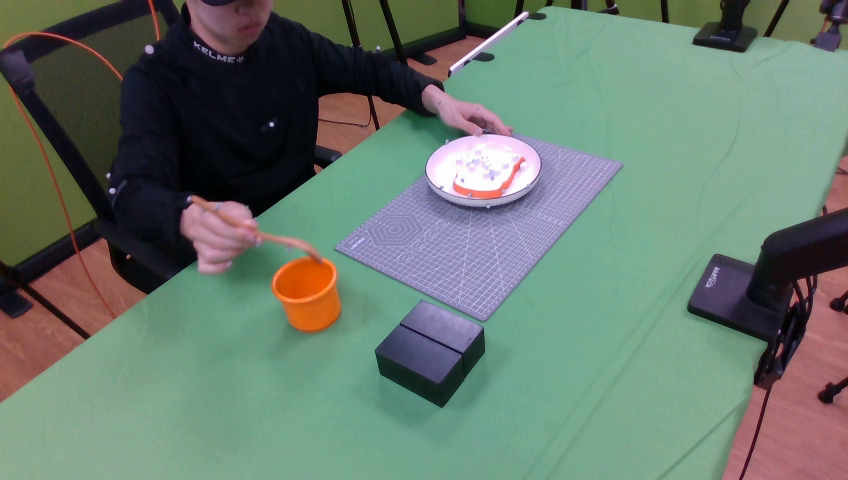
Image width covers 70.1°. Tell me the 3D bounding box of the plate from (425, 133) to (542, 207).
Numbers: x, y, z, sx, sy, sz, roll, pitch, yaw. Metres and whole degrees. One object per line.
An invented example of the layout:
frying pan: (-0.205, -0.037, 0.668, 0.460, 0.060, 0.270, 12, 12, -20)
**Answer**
plate: (0.106, -0.121, 1.079, 0.209, 0.038, 0.208, -4, 41, 4)

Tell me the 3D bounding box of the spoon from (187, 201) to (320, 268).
spoon: (-0.210, -0.004, 0.767, 0.041, 0.195, 0.021, 24, 89, 51)

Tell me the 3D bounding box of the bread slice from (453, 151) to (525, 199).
bread slice: (0.112, -0.118, 1.079, 0.104, 0.019, 0.131, 11, 42, 21)
